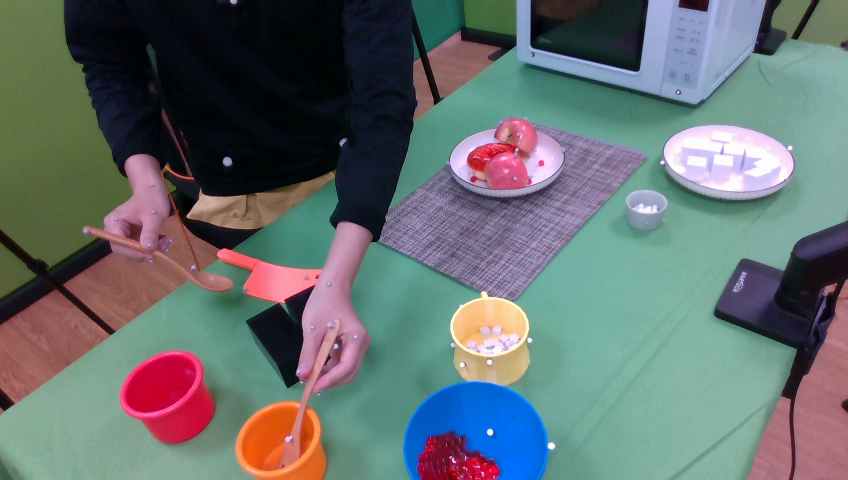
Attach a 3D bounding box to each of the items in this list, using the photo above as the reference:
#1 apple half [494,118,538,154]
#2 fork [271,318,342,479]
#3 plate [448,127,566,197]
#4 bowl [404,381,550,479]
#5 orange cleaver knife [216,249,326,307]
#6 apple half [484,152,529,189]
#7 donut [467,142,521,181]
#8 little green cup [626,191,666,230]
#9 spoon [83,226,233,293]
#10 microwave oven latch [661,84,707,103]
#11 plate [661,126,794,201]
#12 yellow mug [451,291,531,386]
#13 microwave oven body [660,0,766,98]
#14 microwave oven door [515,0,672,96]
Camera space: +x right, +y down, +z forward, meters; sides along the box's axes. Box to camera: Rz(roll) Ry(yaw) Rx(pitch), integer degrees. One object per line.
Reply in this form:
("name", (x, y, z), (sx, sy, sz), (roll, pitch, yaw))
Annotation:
("apple half", (0.176, -0.197, 1.113), (0.080, 0.053, 0.075), (29, 12, 34))
("fork", (-0.130, 0.184, 0.675), (0.028, 0.019, 0.207), (19, 91, 37))
("plate", (0.150, -0.138, 1.097), (0.209, 0.038, 0.208), (-4, 40, 4))
("bowl", (0.058, 0.235, 0.645), (0.151, 0.077, 0.150), (-4, 39, 4))
("orange cleaver knife", (-0.248, 0.058, 0.945), (0.210, 0.012, 0.077), (13, 51, 20))
("apple half", (0.144, -0.116, 1.032), (0.081, 0.033, 0.081), (2, 78, -11))
("donut", (0.126, -0.144, 1.090), (0.099, 0.048, 0.098), (-6, 36, 5))
("little green cup", (0.352, -0.046, 0.963), (0.061, 0.039, 0.061), (-4, 40, 4))
("spoon", (-0.342, 0.024, 0.789), (0.021, 0.195, 0.041), (-48, 32, 15))
("microwave oven latch", (0.517, -0.296, 1.204), (0.078, 0.029, 0.030), (26, 52, 34))
("plate", (0.513, -0.127, 1.035), (0.207, 0.039, 0.206), (-4, 40, 4))
("yellow mug", (0.085, 0.120, 0.786), (0.100, 0.064, 0.130), (-7, 39, 1))
("microwave oven body", (0.473, -0.514, 1.317), (0.438, 0.261, 0.327), (26, 51, 34))
("microwave oven door", (0.343, -0.454, 1.259), (0.353, 0.245, 0.039), (26, 51, 33))
